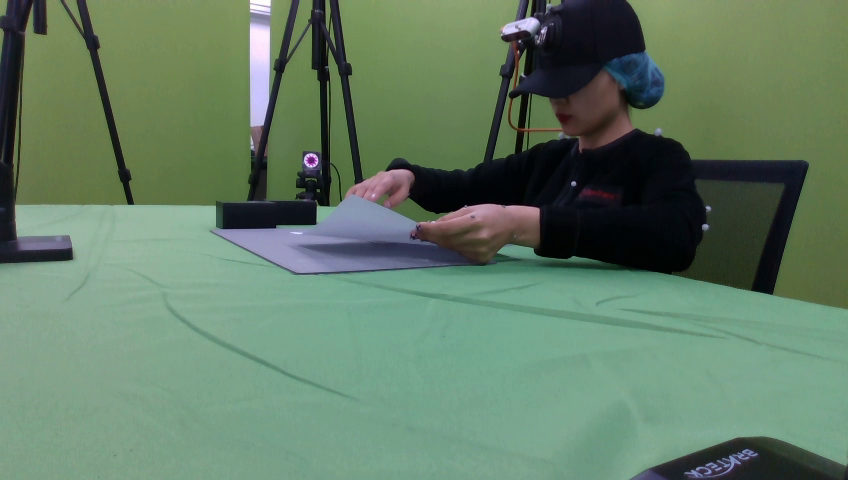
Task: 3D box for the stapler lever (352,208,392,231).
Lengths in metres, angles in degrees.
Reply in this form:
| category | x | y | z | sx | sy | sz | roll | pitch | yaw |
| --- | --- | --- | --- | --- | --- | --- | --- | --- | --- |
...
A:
| category | x | y | z | sx | sy | sz | roll | pitch | yaw |
| --- | --- | --- | --- | --- | --- | --- | --- | --- | --- |
| stapler lever | -0.092 | -0.039 | 1.059 | 0.027 | 0.040 | 0.117 | 1 | 6 | -30 |

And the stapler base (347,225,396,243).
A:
| category | x | y | z | sx | sy | sz | roll | pitch | yaw |
| --- | --- | --- | --- | --- | --- | --- | --- | --- | --- |
| stapler base | -0.091 | -0.014 | 1.061 | 0.041 | 0.024 | 0.130 | 1 | 6 | -30 |
